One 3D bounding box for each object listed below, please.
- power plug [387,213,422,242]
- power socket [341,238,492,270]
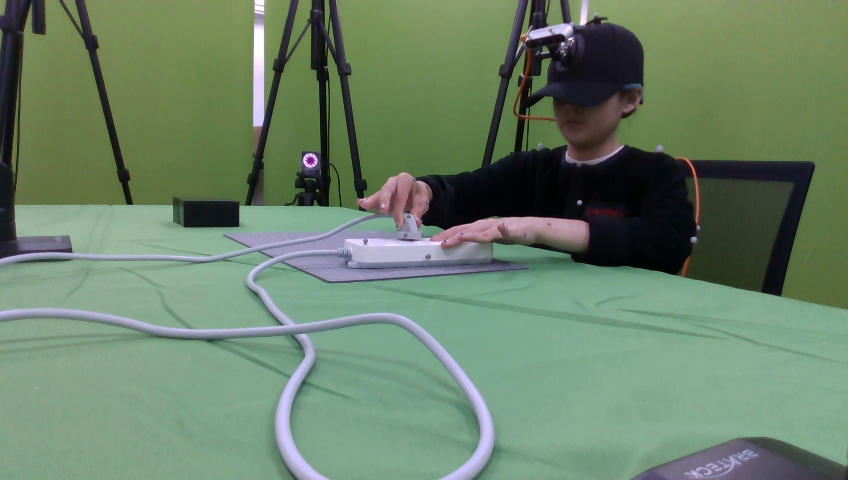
[{"bbox_3d":[-0.028,-0.010,0.848,0.035,0.052,0.072,2,9,-20],"label":"power plug"},{"bbox_3d":[-0.007,0.016,0.831,0.228,0.032,0.072,-1,10,-28],"label":"power socket"}]
